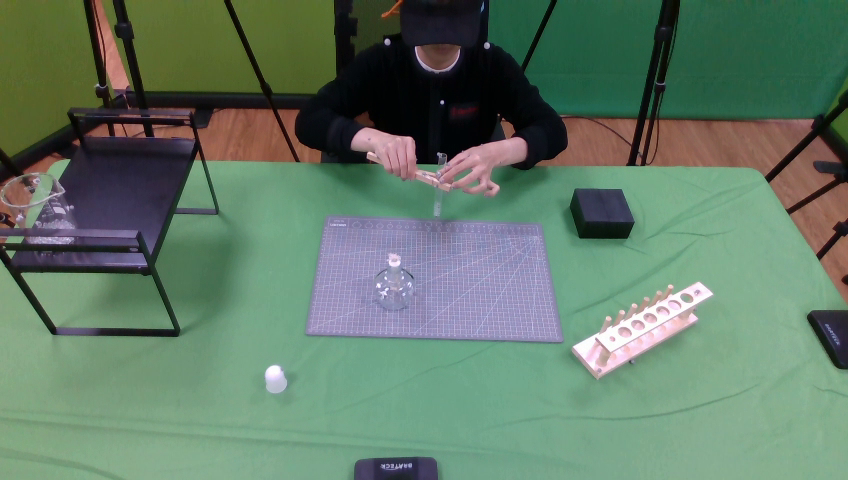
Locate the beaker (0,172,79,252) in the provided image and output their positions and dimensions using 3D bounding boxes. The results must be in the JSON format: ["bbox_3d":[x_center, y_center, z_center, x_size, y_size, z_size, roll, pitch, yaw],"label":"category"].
[{"bbox_3d":[-0.557,-0.038,0.889,0.084,0.101,0.073,-3,47,-8],"label":"beaker"}]

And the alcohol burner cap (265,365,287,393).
[{"bbox_3d":[-0.236,0.216,0.956,0.034,0.048,0.033,3,45,-3],"label":"alcohol burner cap"}]

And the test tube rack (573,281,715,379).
[{"bbox_3d":[0.378,0.140,1.038,0.242,0.085,0.066,-22,51,-23],"label":"test tube rack"}]

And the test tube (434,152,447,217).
[{"bbox_3d":[0.031,-0.102,1.159,0.017,0.151,0.017,2,43,-2],"label":"test tube"}]

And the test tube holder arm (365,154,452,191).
[{"bbox_3d":[-0.030,-0.131,1.156,0.178,0.015,0.013,20,38,10],"label":"test tube holder arm"}]

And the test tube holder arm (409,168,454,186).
[{"bbox_3d":[0.013,-0.120,1.156,0.088,0.015,0.010,13,38,1],"label":"test tube holder arm"}]

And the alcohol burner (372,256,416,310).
[{"bbox_3d":[-0.052,0.068,1.057,0.078,0.120,0.077,1,48,-1],"label":"alcohol burner"}]
